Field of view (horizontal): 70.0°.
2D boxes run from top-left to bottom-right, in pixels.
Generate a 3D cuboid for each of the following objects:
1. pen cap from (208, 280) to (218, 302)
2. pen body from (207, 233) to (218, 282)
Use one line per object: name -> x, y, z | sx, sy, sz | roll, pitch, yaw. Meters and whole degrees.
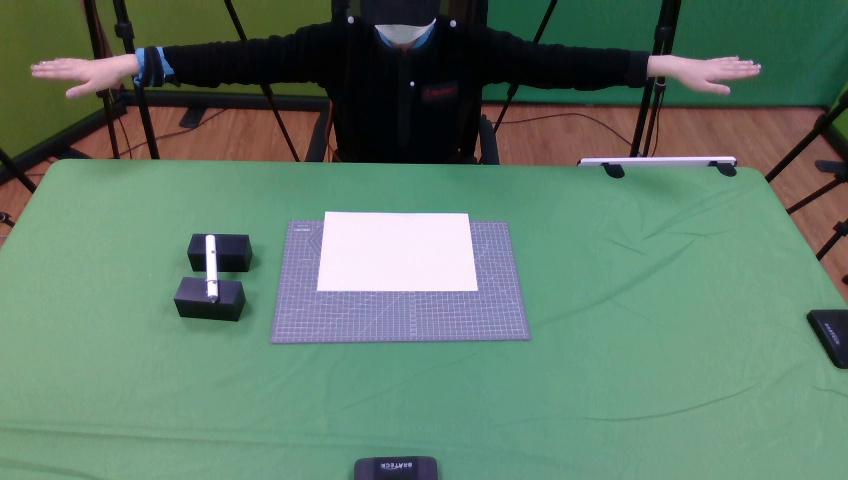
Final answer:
pen cap -> -0.356, 0.086, 1.021 | 0.017, 0.017, 0.038 | -9, 47, -12
pen body -> -0.371, 0.042, 1.062 | 0.017, 0.017, 0.143 | -9, 47, -12
